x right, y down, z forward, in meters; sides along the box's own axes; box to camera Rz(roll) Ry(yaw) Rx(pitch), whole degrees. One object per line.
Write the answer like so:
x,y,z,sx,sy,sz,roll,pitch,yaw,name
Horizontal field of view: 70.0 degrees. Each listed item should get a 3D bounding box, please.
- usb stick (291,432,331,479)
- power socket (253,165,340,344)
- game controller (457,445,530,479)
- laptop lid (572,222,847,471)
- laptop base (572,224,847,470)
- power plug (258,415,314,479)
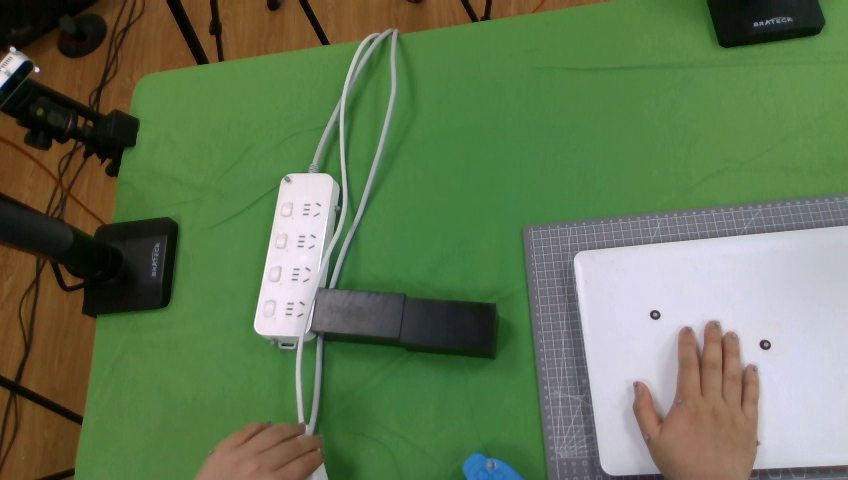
-0.111,0.223,0.604,0.021,0.027,0.058,-33,63,13,usb stick
-0.152,0.011,0.734,0.072,0.033,0.225,2,70,12,power socket
0.039,0.277,0.595,0.155,0.052,0.096,-41,66,-6,game controller
0.340,0.103,0.608,0.356,0.013,0.240,-4,72,9,laptop lid
0.342,0.104,0.618,0.354,0.023,0.234,-5,72,8,laptop base
-0.148,0.229,0.661,0.052,0.035,0.072,-10,27,31,power plug
